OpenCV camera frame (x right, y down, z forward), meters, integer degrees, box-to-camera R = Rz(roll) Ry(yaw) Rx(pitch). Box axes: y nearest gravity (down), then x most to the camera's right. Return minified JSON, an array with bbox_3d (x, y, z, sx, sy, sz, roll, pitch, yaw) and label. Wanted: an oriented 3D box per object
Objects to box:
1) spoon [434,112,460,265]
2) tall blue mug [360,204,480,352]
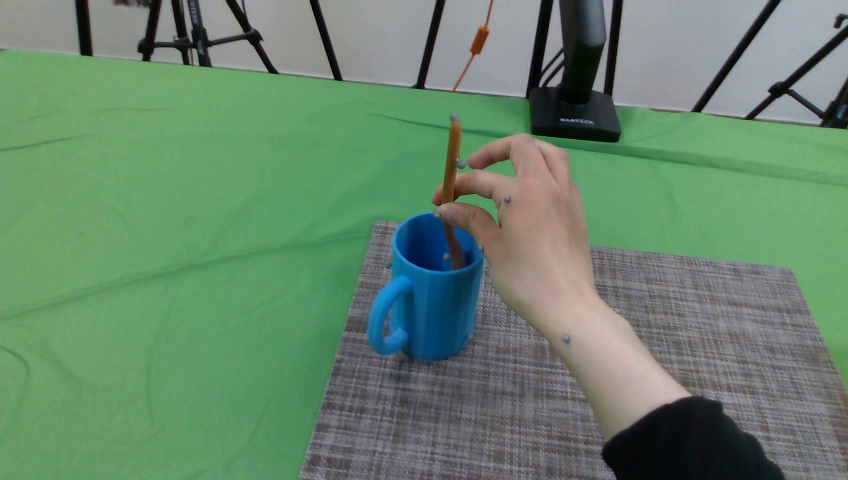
[{"bbox_3d":[0.016,-0.020,0.467,0.021,0.195,0.041,0,52,5],"label":"spoon"},{"bbox_3d":[-0.001,0.044,0.510,0.077,0.109,0.106,13,43,8],"label":"tall blue mug"}]
